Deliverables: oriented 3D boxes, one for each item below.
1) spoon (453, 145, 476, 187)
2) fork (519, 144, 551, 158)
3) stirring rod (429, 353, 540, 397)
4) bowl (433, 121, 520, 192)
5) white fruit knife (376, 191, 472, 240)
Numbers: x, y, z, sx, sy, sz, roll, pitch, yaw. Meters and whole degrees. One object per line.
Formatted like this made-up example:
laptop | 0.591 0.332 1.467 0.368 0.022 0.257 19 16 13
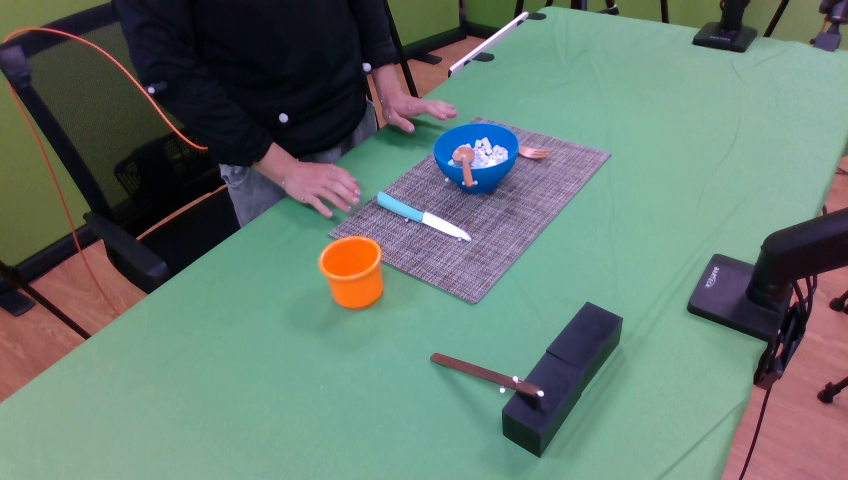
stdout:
spoon | 0.069 -0.124 1.000 0.041 0.022 0.193 -9 21 6
fork | 0.146 -0.188 1.162 0.206 0.019 0.028 22 59 27
stirring rod | 0.069 0.162 0.737 0.174 0.006 0.014 8 42 47
bowl | 0.093 -0.137 1.064 0.151 0.077 0.150 -4 41 4
white fruit knife | -0.004 -0.039 1.012 0.206 0.016 0.027 25 60 31
